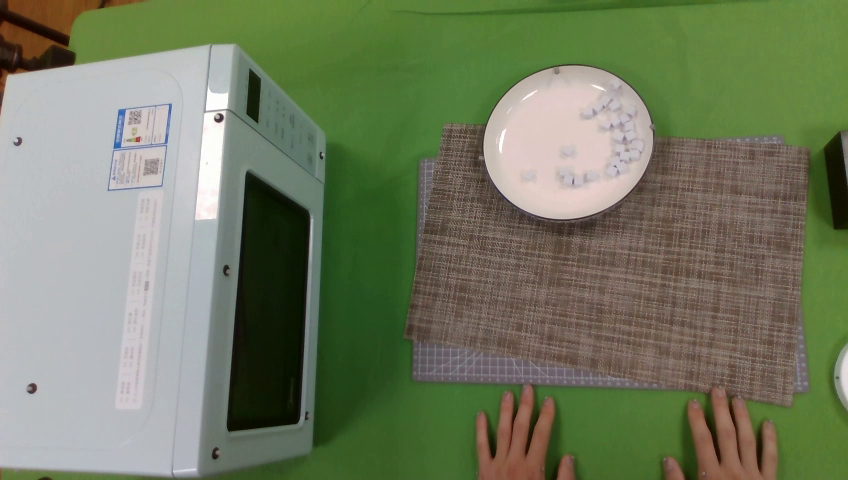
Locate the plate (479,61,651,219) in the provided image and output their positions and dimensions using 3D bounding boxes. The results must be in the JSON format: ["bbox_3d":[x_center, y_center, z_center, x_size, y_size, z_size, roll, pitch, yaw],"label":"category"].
[{"bbox_3d":[0.175,-0.123,0.764,0.208,0.038,0.208,-3,75,13],"label":"plate"}]

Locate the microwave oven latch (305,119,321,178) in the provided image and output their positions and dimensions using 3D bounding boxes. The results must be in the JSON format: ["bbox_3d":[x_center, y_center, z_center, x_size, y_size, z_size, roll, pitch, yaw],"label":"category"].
[{"bbox_3d":[-0.159,-0.125,0.834,0.030,0.030,0.079,-3,78,13],"label":"microwave oven latch"}]

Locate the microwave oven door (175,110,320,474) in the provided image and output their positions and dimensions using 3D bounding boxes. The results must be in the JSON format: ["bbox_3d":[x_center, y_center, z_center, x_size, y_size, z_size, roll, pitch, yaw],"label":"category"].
[{"bbox_3d":[-0.187,0.065,0.691,0.039,0.245,0.354,-4,77,14],"label":"microwave oven door"}]

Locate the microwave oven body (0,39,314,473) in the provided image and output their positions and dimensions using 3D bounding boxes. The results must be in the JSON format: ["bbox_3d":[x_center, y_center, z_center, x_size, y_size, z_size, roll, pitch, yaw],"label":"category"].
[{"bbox_3d":[-0.327,0.034,0.739,0.325,0.262,0.439,-3,77,13],"label":"microwave oven body"}]

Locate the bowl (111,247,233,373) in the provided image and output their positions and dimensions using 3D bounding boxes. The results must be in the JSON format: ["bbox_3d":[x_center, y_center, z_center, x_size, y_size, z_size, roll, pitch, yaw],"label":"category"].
[{"bbox_3d":[-0.295,0.090,0.750,0.151,0.077,0.150,-3,76,13],"label":"bowl"}]

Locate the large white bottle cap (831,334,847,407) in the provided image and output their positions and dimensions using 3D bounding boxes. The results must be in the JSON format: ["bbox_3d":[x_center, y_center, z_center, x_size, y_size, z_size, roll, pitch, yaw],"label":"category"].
[{"bbox_3d":[0.496,0.142,0.637,0.114,0.018,0.114,-3,77,13],"label":"large white bottle cap"}]
